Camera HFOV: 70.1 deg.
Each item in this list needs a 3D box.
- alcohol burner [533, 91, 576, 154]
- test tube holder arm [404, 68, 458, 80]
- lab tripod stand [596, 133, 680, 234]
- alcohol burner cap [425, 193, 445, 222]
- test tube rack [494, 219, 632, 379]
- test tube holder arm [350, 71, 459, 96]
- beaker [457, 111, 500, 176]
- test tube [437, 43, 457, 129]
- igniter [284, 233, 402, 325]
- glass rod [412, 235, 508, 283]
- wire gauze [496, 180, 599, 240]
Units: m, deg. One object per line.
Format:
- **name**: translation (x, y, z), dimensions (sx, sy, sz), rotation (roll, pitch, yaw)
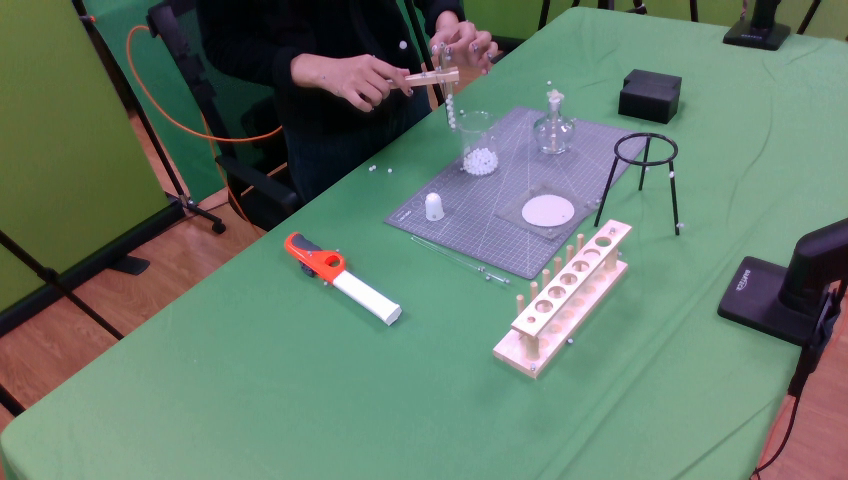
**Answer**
- **alcohol burner**: translation (0.243, -0.222, 1.124), dimensions (0.078, 0.119, 0.077), rotation (-4, 39, 4)
- **test tube holder arm**: translation (0.012, -0.264, 0.981), dimensions (0.088, 0.015, 0.010), rotation (-13, 36, -5)
- **lab tripod stand**: translation (0.338, -0.091, 0.940), dimensions (0.148, 0.132, 0.147), rotation (-7, 39, 6)
- **alcohol burner cap**: translation (0.017, -0.058, 1.029), dimensions (0.034, 0.048, 0.033), rotation (-6, 40, 5)
- **test tube rack**: translation (0.191, 0.068, 0.818), dimensions (0.066, 0.085, 0.243), rotation (25, 51, 35)
- **test tube holder arm**: translation (-0.032, -0.253, 0.977), dimensions (0.178, 0.015, 0.013), rotation (-8, 35, 3)
- **beaker**: translation (0.104, -0.176, 1.108), dimensions (0.073, 0.101, 0.084), rotation (16, 46, 27)
- **test tube**: translation (0.038, -0.249, 0.991), dimensions (0.017, 0.151, 0.017), rotation (-6, 41, 6)
- **igniter**: translation (-0.136, 0.054, 0.942), dimensions (0.274, 0.025, 0.057), rotation (30, 63, 37)
- **glass rod**: translation (0.051, 0.028, 0.951), dimensions (0.198, 0.008, 0.008), rotation (25, 52, 37)
- **wire gauze**: translation (0.206, -0.050, 1.012), dimensions (0.125, 0.011, 0.120), rotation (-34, 45, -26)
